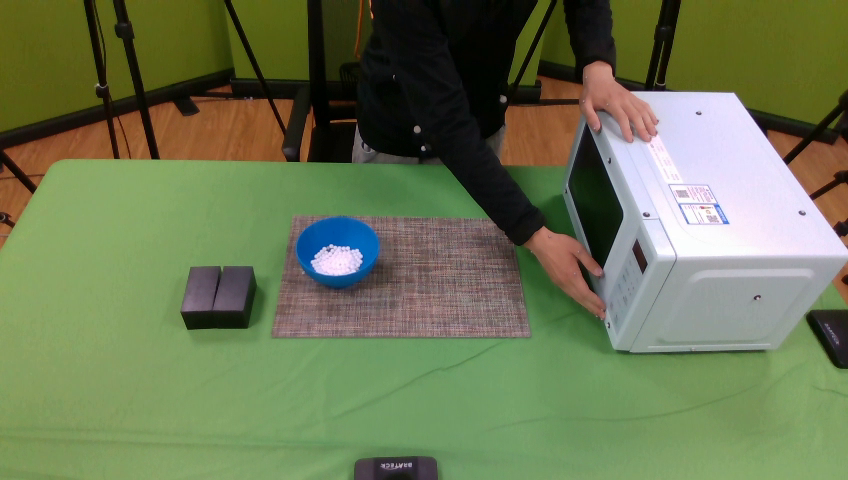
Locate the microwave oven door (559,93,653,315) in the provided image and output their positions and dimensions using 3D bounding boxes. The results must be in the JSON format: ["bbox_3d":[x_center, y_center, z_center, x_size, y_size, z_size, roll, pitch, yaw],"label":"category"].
[{"bbox_3d":[0.327,-0.074,1.123,0.039,0.245,0.353,-1,46,-5],"label":"microwave oven door"}]

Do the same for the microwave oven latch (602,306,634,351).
[{"bbox_3d":[0.332,0.153,1.044,0.030,0.029,0.078,0,45,-4],"label":"microwave oven latch"}]

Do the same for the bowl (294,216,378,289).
[{"bbox_3d":[-0.158,0.036,1.110,0.151,0.077,0.150,3,45,-2],"label":"bowl"}]

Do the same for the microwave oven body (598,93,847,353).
[{"bbox_3d":[0.475,-0.041,1.109,0.326,0.261,0.438,-1,45,-4],"label":"microwave oven body"}]
